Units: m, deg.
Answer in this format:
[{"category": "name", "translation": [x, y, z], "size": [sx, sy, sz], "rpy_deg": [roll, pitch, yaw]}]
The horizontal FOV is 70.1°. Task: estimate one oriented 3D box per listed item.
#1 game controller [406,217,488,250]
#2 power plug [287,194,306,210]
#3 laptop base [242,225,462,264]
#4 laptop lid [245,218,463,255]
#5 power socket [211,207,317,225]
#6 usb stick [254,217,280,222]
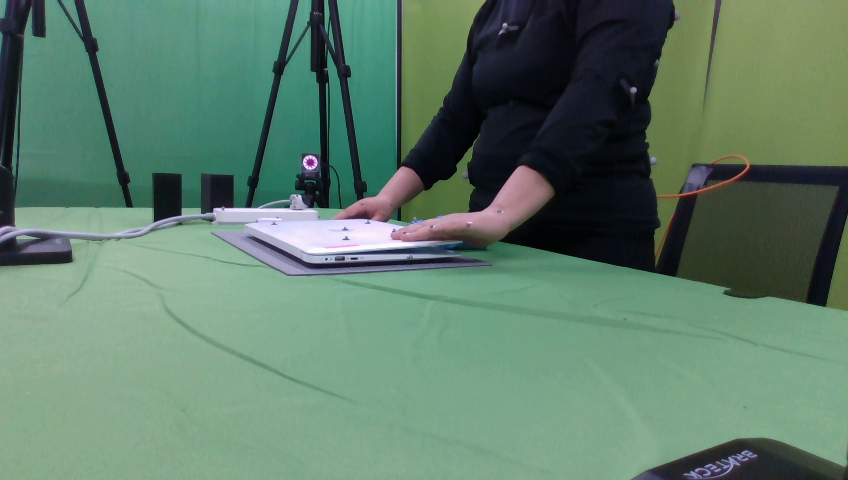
[{"category": "game controller", "translation": [0.034, -0.013, 1.067], "size": [0.097, 0.051, 0.154], "rpy_deg": [-6, 10, -29]}, {"category": "power plug", "translation": [-0.283, -0.075, 1.342], "size": [0.035, 0.052, 0.072], "rpy_deg": [0, 3, -18]}, {"category": "laptop base", "translation": [-0.129, 0.006, 0.952], "size": [0.237, 0.023, 0.352], "rpy_deg": [3, 6, -30]}, {"category": "laptop lid", "translation": [-0.126, -0.012, 0.950], "size": [0.243, 0.013, 0.355], "rpy_deg": [-3, 9, -28]}, {"category": "power socket", "translation": [-0.334, -0.051, 1.281], "size": [0.228, 0.032, 0.072], "rpy_deg": [-1, 9, -29]}, {"category": "usb stick", "translation": [-0.296, -0.028, 1.114], "size": [0.059, 0.027, 0.021], "rpy_deg": [-5, 12, -30]}]
